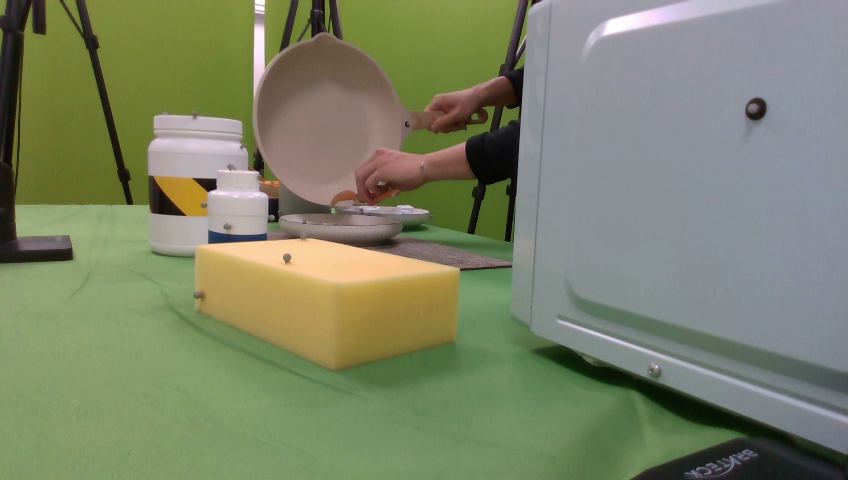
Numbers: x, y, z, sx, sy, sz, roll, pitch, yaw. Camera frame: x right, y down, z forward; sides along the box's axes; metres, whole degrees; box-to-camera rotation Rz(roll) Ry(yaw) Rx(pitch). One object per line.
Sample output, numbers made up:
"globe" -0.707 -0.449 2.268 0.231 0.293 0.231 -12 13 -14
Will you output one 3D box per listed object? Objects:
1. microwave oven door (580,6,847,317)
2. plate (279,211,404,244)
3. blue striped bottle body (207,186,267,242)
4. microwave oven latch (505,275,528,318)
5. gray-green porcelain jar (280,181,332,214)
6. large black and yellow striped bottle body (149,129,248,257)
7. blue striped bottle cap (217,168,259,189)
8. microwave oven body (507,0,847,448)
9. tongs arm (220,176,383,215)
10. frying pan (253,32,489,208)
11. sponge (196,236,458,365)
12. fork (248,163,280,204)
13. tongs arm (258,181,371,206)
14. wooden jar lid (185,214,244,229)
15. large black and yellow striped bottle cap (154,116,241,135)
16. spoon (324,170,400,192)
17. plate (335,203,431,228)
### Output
"microwave oven door" 0.295 -0.067 0.570 0.358 0.243 0.039 -3 9 -31
"plate" -0.139 -0.022 1.020 0.209 0.038 0.209 2 8 0
"blue striped bottle body" -0.204 -0.016 0.663 0.063 0.120 0.063 2 7 0
"microwave oven latch" 0.100 0.042 0.472 0.079 0.029 0.030 -2 8 -30
"gray-green porcelain jar" -0.238 -0.092 1.221 0.106 0.126 0.106 2 8 0
"large black and yellow striped bottle body" -0.315 -0.075 0.854 0.131 0.184 0.130 1 7 0
"blue striped bottle cap" -0.202 -0.067 0.656 0.044 0.020 0.044 0 10 0
"microwave oven body" 0.331 -0.042 0.425 0.444 0.260 0.324 -2 8 -31
"tongs arm" -0.285 -0.105 1.445 0.389 0.027 0.028 9 -4 -23
"frying pan" -0.083 -0.226 1.139 0.490 0.306 0.102 -9 11 -27
"sponge" -0.087 0.039 0.500 0.206 0.061 0.119 8 9 44
"fork" -0.396 -0.143 1.486 0.028 0.018 0.208 20 -26 45
"tongs arm" -0.241 -0.095 1.373 0.387 0.026 0.050 9 0 -37
"wooden jar lid" -0.404 -0.037 1.169 0.108 0.020 0.108 3 7 0
"large black and yellow striped bottle cap" -0.314 -0.158 0.843 0.115 0.019 0.115 3 7 0
"spoon" -0.101 -0.095 0.994 0.042 0.021 0.192 -31 34 -35
"plate" -0.089 -0.053 1.309 0.208 0.039 0.207 2 8 0
